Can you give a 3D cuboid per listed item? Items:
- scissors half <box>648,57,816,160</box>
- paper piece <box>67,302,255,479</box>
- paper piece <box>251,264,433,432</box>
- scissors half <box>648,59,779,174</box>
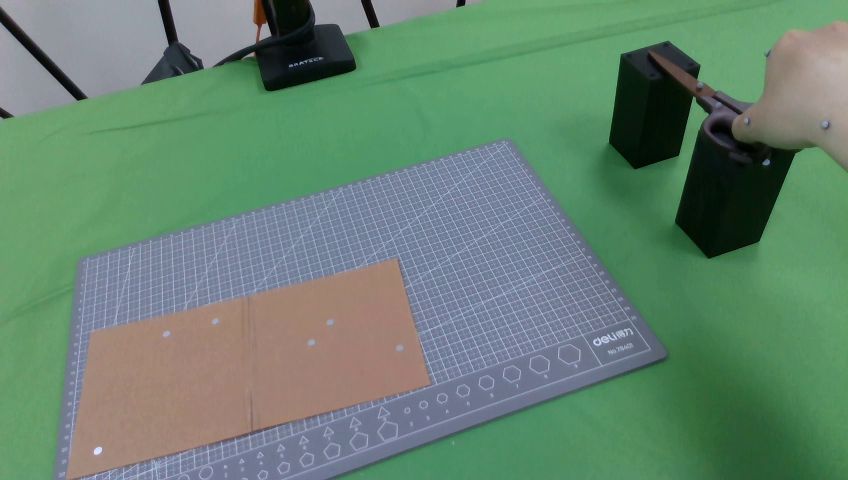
[{"bbox_3d":[0.244,-0.116,0.497,0.040,0.013,0.173,-28,47,-11],"label":"scissors half"},{"bbox_3d":[-0.202,0.113,0.480,0.138,0.009,0.134,-13,42,-4],"label":"paper piece"},{"bbox_3d":[-0.073,0.081,0.492,0.136,0.004,0.134,-12,44,-5],"label":"paper piece"},{"bbox_3d":[0.225,-0.108,0.494,0.040,0.013,0.173,-12,44,-3],"label":"scissors half"}]
